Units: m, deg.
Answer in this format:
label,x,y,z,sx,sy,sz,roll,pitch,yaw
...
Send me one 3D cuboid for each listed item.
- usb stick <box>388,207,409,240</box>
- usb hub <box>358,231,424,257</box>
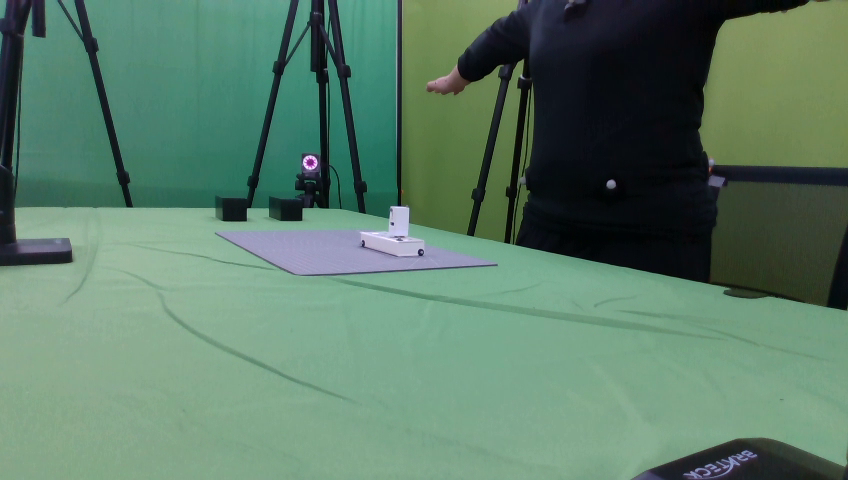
label,x,y,z,sx,sy,sz,roll,pitch,yaw
usb stick,-0.040,-0.021,0.931,0.027,0.059,0.021,-5,11,-37
usb hub,-0.054,0.005,0.947,0.050,0.025,0.124,-3,9,-34
